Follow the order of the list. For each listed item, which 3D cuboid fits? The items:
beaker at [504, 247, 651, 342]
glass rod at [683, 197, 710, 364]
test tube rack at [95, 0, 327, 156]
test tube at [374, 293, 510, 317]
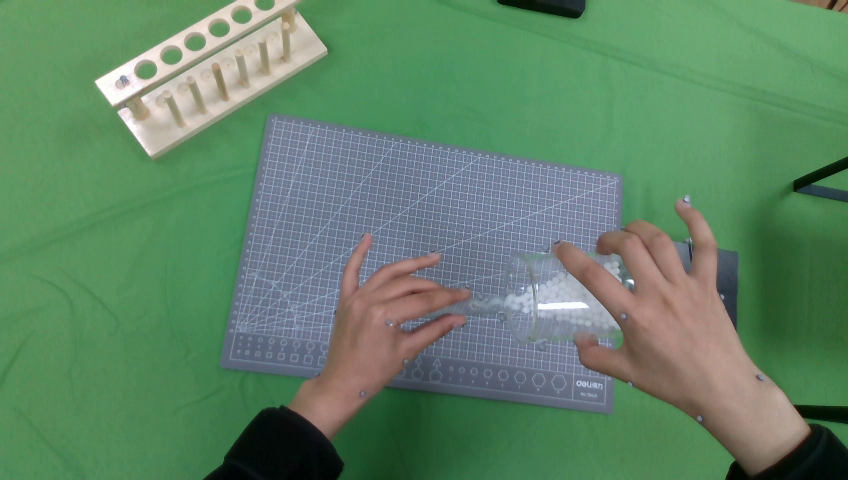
[{"bbox_3d":[0.121,0.043,0.490,0.100,0.084,0.073,-1,78,-10],"label":"beaker"},{"bbox_3d":[0.321,0.045,0.714,0.008,0.008,0.199,-1,78,-9],"label":"glass rod"},{"bbox_3d":[-0.227,-0.199,0.682,0.242,0.085,0.066,-37,85,-15],"label":"test tube rack"},{"bbox_3d":[0.012,0.061,0.561,0.017,0.149,0.017,13,73,-51],"label":"test tube"}]
